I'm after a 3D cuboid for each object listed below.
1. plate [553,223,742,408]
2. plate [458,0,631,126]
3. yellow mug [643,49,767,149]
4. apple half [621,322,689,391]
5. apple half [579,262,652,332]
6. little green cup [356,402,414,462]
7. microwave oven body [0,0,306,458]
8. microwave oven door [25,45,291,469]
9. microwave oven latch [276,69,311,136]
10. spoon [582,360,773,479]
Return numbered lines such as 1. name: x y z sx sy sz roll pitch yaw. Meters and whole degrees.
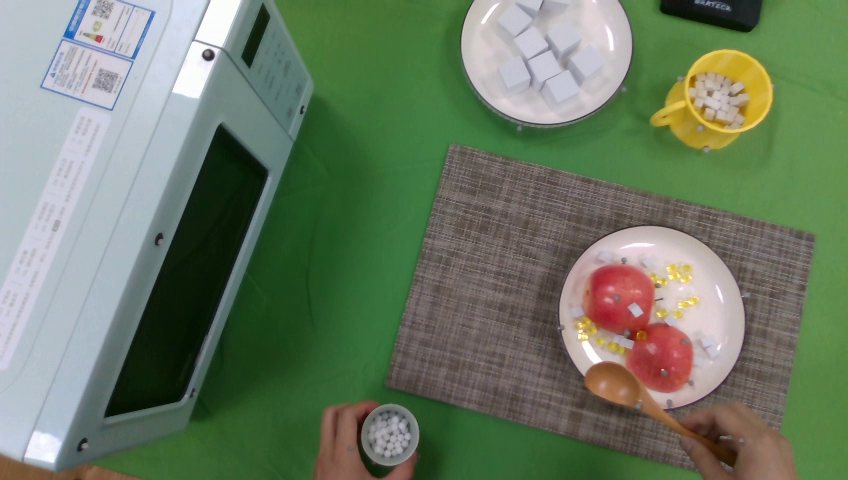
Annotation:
1. plate: 0.250 0.085 0.692 0.209 0.038 0.208 0 82 1
2. plate: 0.145 -0.236 0.745 0.208 0.039 0.207 0 81 1
3. yellow mug: 0.325 -0.160 0.716 0.131 0.064 0.099 -17 81 -1
4. apple half: 0.262 0.129 0.679 0.081 0.033 0.081 0 78 2
5. apple half: 0.217 0.062 0.680 0.074 0.053 0.080 12 83 6
6. little green cup: -0.042 0.205 0.651 0.061 0.039 0.061 1 78 -5
7. microwave oven body: -0.359 -0.061 0.613 0.326 0.261 0.440 18 83 3
8. microwave oven door: -0.234 0.023 0.593 0.039 0.244 0.355 18 82 5
9. microwave oven latch: -0.160 -0.167 0.722 0.030 0.029 0.079 20 83 4
10. spoon: 0.236 0.172 0.569 0.193 0.021 0.042 33 117 10
